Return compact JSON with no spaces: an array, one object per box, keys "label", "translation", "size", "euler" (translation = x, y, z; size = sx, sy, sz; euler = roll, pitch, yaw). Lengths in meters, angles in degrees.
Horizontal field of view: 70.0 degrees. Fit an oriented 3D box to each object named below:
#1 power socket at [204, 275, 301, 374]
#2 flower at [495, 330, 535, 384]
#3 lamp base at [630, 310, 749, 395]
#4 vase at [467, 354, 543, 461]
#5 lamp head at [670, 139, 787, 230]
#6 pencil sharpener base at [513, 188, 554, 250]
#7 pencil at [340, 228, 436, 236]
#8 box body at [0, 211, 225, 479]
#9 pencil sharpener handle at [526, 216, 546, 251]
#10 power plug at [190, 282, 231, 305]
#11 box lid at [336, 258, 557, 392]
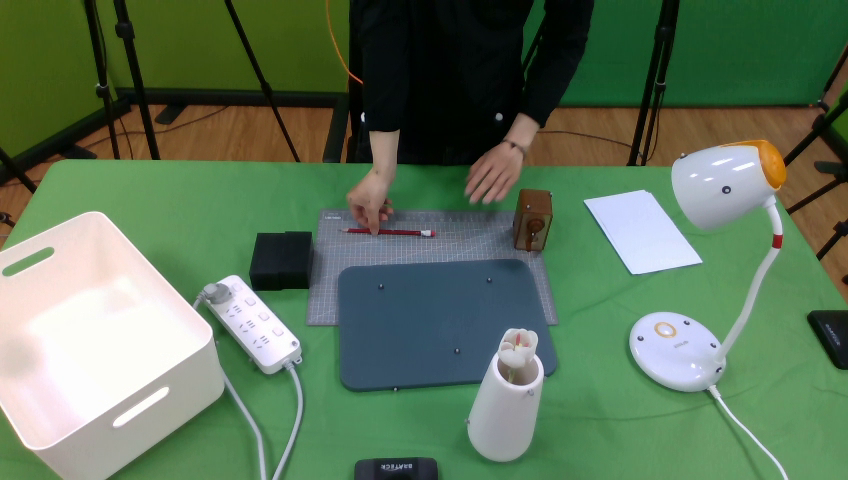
[{"label":"power socket","translation":[-0.296,0.140,1.035],"size":[0.072,0.033,0.225],"euler":[-32,57,-29]},{"label":"flower","translation":[0.110,0.187,0.791],"size":[0.044,0.363,0.038],"euler":[-32,65,-11]},{"label":"lamp base","translation":[0.447,0.142,0.984],"size":[0.161,0.181,0.178],"euler":[-24,55,-24]},{"label":"vase","translation":[0.116,0.234,0.861],"size":[0.098,0.201,0.097],"euler":[1,47,-1]},{"label":"lamp head","translation":[0.415,-0.079,0.812],"size":[0.113,0.123,0.112],"euler":[13,70,-37]},{"label":"pencil sharpener base","translation":[0.213,-0.038,1.187],"size":[0.061,0.107,0.076],"euler":[5,47,1]},{"label":"pencil","translation":[-0.074,-0.017,1.214],"size":[0.194,0.012,0.012],"euler":[2,46,0]},{"label":"box body","translation":[-0.504,0.154,0.916],"size":[0.362,0.161,0.254],"euler":[36,54,27]},{"label":"pencil sharpener handle","translation":[0.208,-0.010,1.143],"size":[0.036,0.068,0.030],"euler":[10,47,-5]},{"label":"power plug","translation":[-0.368,0.098,1.039],"size":[0.072,0.053,0.035],"euler":[-26,55,-20]},{"label":"box lid","translation":[0.030,0.140,1.073],"size":[0.372,0.015,0.261],"euler":[-3,47,-7]}]
